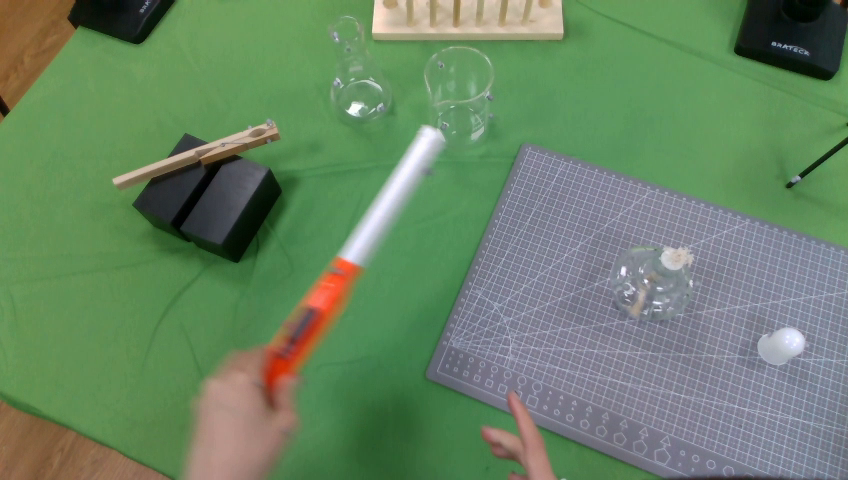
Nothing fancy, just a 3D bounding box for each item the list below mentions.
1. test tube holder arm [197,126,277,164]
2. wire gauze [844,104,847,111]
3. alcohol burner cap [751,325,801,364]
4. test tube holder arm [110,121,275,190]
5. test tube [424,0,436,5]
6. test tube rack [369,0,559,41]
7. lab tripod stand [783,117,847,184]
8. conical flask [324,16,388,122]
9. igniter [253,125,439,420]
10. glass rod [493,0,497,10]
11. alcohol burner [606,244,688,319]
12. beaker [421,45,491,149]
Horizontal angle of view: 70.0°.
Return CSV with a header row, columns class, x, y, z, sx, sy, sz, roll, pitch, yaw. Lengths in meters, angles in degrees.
class,x,y,z,sx,sy,sz,roll,pitch,yaw
test tube holder arm,-0.204,-0.103,0.661,0.088,0.015,0.010,-20,67,-7
wire gauze,0.480,-0.128,0.564,0.121,0.011,0.125,42,75,16
alcohol burner cap,0.346,0.099,0.591,0.034,0.048,0.033,-1,66,2
test tube holder arm,-0.248,-0.092,0.657,0.178,0.015,0.013,-21,67,-8
test tube,0.010,-0.342,0.718,0.017,0.151,0.017,1,61,-1
test tube rack,0.050,-0.303,0.754,0.242,0.086,0.066,1,67,2
lab tripod stand,0.475,-0.102,0.626,0.148,0.132,0.147,0,66,0
conical flask,-0.084,-0.198,0.693,0.075,0.123,0.075,-1,66,2
igniter,-0.065,0.029,0.504,0.025,0.057,0.276,30,88,12
glass rod,0.083,-0.352,0.702,0.008,0.201,0.008,-3,58,5
alcohol burner,0.220,0.034,0.584,0.078,0.120,0.077,0,66,0
beaker,0.034,-0.154,0.683,0.073,0.101,0.084,35,73,17
